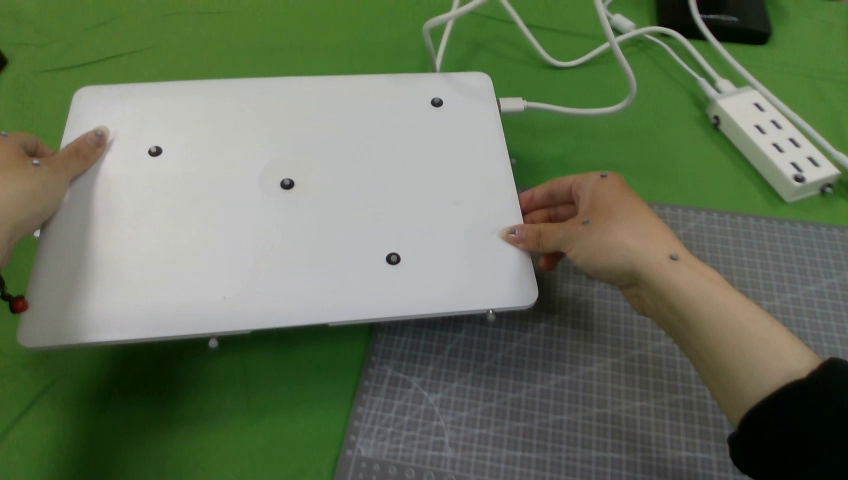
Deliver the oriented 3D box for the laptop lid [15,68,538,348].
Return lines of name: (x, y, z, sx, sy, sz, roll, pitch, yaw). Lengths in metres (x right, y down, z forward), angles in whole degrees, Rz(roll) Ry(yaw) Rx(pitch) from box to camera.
laptop lid: (-0.104, -0.042, 0.464, 0.357, 0.013, 0.239, -3, 60, -5)

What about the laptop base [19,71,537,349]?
laptop base: (-0.105, -0.037, 0.476, 0.355, 0.023, 0.233, -4, 62, -6)

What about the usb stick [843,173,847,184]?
usb stick: (0.405, -0.046, 0.531, 0.059, 0.021, 0.027, 37, 107, 7)

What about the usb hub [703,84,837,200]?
usb hub: (0.320, -0.095, 0.569, 0.049, 0.025, 0.124, -17, 56, -10)
